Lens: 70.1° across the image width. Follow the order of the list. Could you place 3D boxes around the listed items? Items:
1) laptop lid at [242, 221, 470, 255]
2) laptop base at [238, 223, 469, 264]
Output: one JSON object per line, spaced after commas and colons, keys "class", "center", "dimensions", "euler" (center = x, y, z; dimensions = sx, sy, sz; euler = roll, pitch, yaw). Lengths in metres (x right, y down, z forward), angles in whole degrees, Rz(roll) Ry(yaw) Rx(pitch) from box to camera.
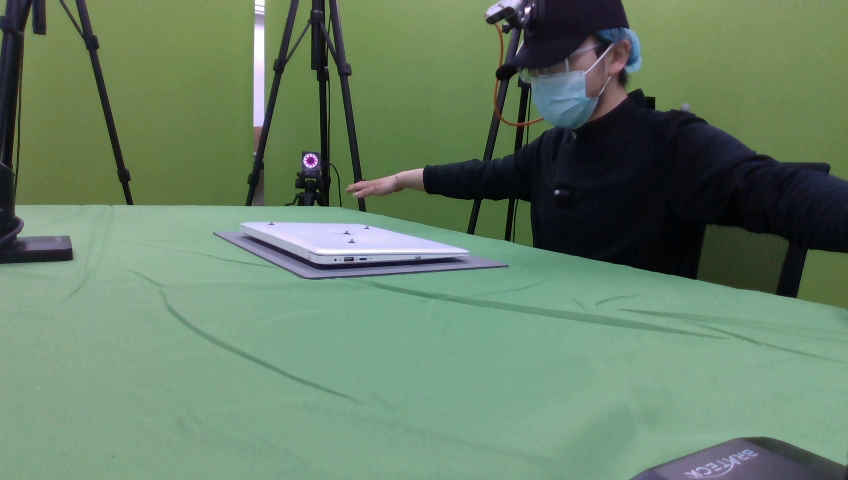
{"class": "laptop lid", "center": [-0.121, -0.007, 0.936], "dimensions": [0.243, 0.013, 0.355], "euler": [1, 7, -31]}
{"class": "laptop base", "center": [-0.123, 0.005, 0.936], "dimensions": [0.237, 0.023, 0.352], "euler": [2, 6, -33]}
